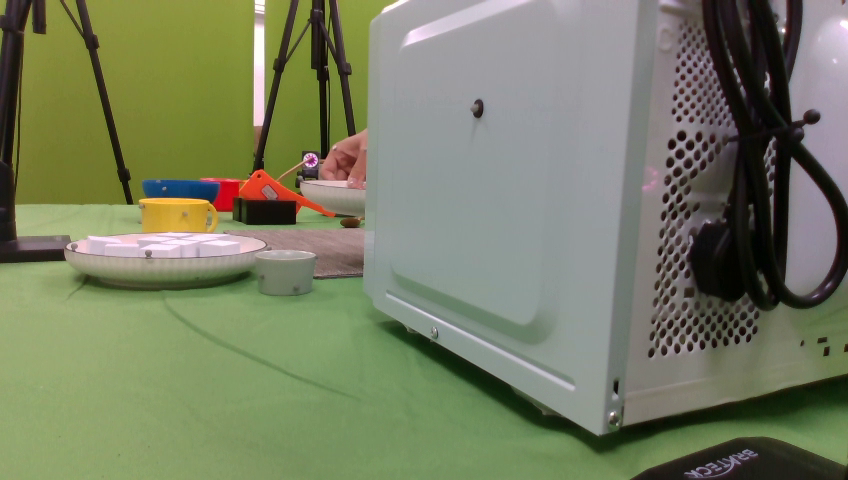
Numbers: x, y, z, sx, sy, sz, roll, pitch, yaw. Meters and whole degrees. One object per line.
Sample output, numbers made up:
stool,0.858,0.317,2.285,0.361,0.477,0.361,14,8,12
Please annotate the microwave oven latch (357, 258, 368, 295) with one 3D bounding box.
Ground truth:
microwave oven latch,-0.019,0.031,0.529,0.079,0.029,0.030,-1,7,-26

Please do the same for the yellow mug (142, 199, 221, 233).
yellow mug,-0.373,-0.030,0.948,0.099,0.064,0.131,6,8,30

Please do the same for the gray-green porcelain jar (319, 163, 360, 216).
gray-green porcelain jar,-0.204,-0.126,1.490,0.106,0.126,0.106,2,8,0

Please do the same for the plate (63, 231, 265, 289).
plate,-0.288,0.021,0.687,0.208,0.039,0.207,2,8,0

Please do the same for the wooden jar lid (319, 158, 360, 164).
wooden jar lid,-0.203,-0.189,1.482,0.108,0.020,0.108,2,10,0

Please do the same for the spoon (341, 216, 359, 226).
spoon,-0.132,-0.048,1.305,0.041,0.021,0.194,-14,4,14

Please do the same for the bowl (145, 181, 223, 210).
bowl,-0.499,-0.081,1.261,0.151,0.077,0.151,2,7,0

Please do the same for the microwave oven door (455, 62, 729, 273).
microwave oven door,0.198,-0.099,0.798,0.354,0.243,0.039,7,10,37

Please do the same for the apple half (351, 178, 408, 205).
apple half,-0.059,-0.070,0.847,0.081,0.033,0.081,4,12,0

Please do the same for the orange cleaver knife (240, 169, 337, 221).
orange cleaver knife,-0.286,-0.082,1.298,0.212,0.077,0.012,25,-2,-31

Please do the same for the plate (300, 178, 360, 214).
plate,-0.058,-0.058,0.801,0.209,0.038,0.209,3,8,0

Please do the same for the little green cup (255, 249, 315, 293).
little green cup,-0.144,0.032,0.627,0.061,0.038,0.061,2,5,0

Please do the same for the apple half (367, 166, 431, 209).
apple half,-0.030,-0.068,0.772,0.074,0.053,0.081,10,9,25

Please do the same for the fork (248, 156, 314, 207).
fork,-0.360,-0.147,1.523,0.207,0.019,0.028,-43,17,-6

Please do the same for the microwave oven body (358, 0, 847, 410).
microwave oven body,0.210,-0.051,0.471,0.444,0.260,0.324,-1,7,-28
